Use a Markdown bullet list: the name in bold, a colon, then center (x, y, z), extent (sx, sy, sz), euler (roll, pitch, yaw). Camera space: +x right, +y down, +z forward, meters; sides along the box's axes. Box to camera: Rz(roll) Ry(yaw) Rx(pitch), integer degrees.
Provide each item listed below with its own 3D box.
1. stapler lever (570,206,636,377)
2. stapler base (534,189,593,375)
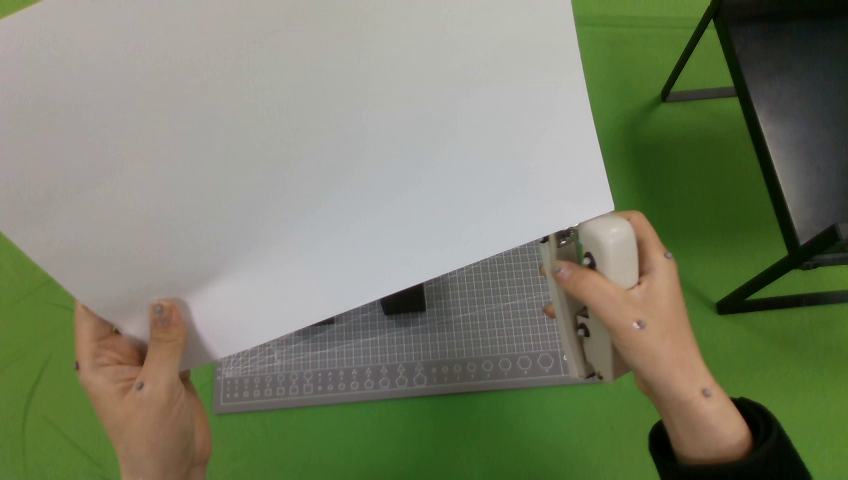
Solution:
- **stapler lever**: center (0.119, 0.036, 0.387), extent (0.027, 0.040, 0.119), euler (-23, 109, -21)
- **stapler base**: center (0.107, 0.031, 0.407), extent (0.041, 0.024, 0.131), euler (-23, 110, -21)
